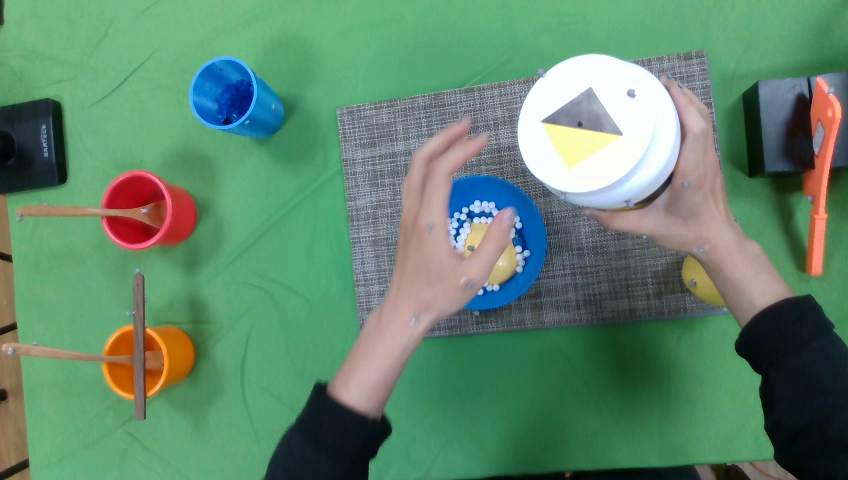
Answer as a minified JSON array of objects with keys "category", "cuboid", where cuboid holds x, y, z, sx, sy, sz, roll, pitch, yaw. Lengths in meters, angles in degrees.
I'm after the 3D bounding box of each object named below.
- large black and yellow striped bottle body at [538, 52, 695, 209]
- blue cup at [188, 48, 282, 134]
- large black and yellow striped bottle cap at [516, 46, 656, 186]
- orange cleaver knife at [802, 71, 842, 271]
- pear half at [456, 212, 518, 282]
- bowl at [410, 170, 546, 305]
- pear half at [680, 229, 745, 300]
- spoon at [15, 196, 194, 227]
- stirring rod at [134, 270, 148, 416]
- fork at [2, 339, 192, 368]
[{"category":"large black and yellow striped bottle body","cuboid":[0.176,-0.101,0.576,0.130,0.185,0.130,-1,88,32]},{"category":"blue cup","cuboid":[-0.223,-0.171,0.746,0.092,0.100,0.092,0,88,11]},{"category":"large black and yellow striped bottle cap","cuboid":[0.132,-0.103,0.504,0.114,0.019,0.115,0,90,33]},{"category":"orange cleaver knife","cuboid":[0.419,-0.069,0.647,0.012,0.077,0.213,-4,116,15]},{"category":"pear half","cuboid":[0.069,0.005,0.696,0.070,0.031,0.087,-32,81,4]},{"category":"bowl","cuboid":[0.065,-0.001,0.702,0.151,0.077,0.151,0,89,10]},{"category":"pear half","cuboid":[0.308,0.030,0.646,0.056,0.110,0.076,-26,80,8]},{"category":"spoon","cuboid":[-0.389,-0.038,0.749,0.195,0.021,0.041,1,90,-34]},{"category":"stirring rod","cuboid":[-0.342,0.124,0.732,0.014,0.006,0.176,-1,89,6]},{"category":"fork","cuboid":[-0.392,0.138,0.741,0.209,0.018,0.028,13,100,-34]}]
